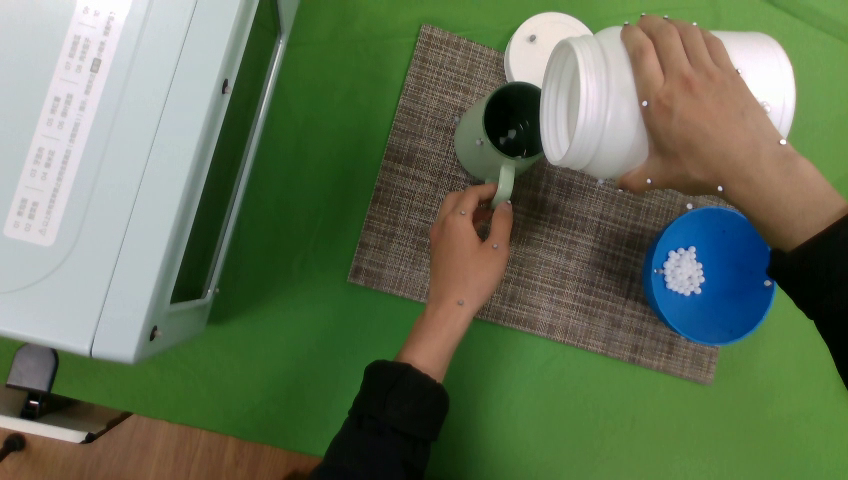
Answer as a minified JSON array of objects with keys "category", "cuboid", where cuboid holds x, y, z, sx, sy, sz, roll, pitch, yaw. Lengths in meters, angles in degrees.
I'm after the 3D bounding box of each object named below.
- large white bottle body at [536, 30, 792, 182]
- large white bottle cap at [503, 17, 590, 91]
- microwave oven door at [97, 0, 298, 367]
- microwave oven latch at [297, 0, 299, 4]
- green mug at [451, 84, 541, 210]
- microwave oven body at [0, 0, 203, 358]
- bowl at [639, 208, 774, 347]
[{"category":"large white bottle body","cuboid":[0.204,-0.117,0.541,0.185,0.130,0.130,0,87,-7]},{"category":"large white bottle cap","cuboid":[0.148,-0.200,0.698,0.115,0.018,0.114,2,83,-11]},{"category":"microwave oven door","cuboid":[-0.172,-0.085,0.505,0.039,0.243,0.355,15,84,-9]},{"category":"microwave oven latch","cuboid":[-0.133,-0.289,0.626,0.030,0.029,0.079,16,85,-10]},{"category":"green mug","cuboid":[0.079,-0.093,0.637,0.093,0.105,0.125,8,85,-11]},{"category":"microwave oven body","cuboid":[-0.302,-0.164,0.490,0.327,0.260,0.440,16,85,-10]},{"category":"bowl","cuboid":[0.303,0.042,0.686,0.152,0.077,0.151,1,87,-10]}]
